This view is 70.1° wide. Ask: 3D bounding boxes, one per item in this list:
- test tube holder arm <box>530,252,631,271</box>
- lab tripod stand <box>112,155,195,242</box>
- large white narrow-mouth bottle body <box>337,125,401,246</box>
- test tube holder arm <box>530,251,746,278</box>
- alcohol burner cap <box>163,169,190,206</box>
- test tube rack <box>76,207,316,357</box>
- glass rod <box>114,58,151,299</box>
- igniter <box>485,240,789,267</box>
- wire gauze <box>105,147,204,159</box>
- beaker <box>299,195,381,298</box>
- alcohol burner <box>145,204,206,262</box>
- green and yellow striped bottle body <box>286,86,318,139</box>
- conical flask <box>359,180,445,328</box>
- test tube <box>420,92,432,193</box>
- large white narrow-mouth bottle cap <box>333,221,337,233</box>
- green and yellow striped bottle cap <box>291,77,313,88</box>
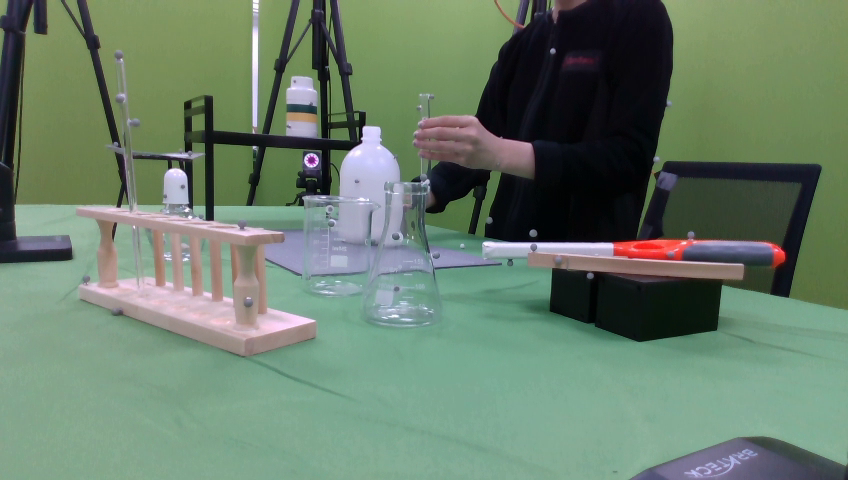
[{"bbox_3d":[0.139,0.019,0.538,0.087,0.015,0.010,3,6,13],"label":"test tube holder arm"},{"bbox_3d":[-0.405,-0.064,0.931,0.148,0.131,0.148,1,7,0],"label":"lab tripod stand"},{"bbox_3d":[-0.090,-0.092,1.006,0.102,0.194,0.102,5,7,0],"label":"large white narrow-mouth bottle body"},{"bbox_3d":[0.182,0.022,0.523,0.178,0.015,0.013,3,6,12],"label":"test tube holder arm"},{"bbox_3d":[-0.320,-0.068,0.782,0.034,0.048,0.034,1,7,0],"label":"alcohol burner cap"},{"bbox_3d":[-0.196,0.023,0.500,0.241,0.085,0.067,8,9,36],"label":"test tube rack"},{"bbox_3d":[-0.236,-0.044,0.492,0.008,0.199,0.008,0,15,0],"label":"glass rod"},{"bbox_3d":[0.197,0.012,0.585,0.276,0.025,0.057,1,5,12],"label":"igniter"},{"bbox_3d":[-0.407,-0.131,0.928,0.125,0.011,0.121,2,6,-11],"label":"wire gauze"},{"bbox_3d":[-0.087,0.006,0.626,0.084,0.100,0.074,1,8,-17],"label":"beaker"},{"bbox_3d":[-0.321,-0.032,0.788,0.078,0.119,0.078,0,7,0],"label":"alcohol burner"},{"bbox_3d":[-0.251,-0.270,1.245,0.063,0.119,0.063,2,7,0],"label":"green and yellow striped bottle body"},{"bbox_3d":[-0.017,0.010,0.522,0.075,0.122,0.075,2,7,0],"label":"conical flask"},{"bbox_3d":[0.003,-0.145,0.907,0.017,0.150,0.017,-1,14,1],"label":"test tube"},{"bbox_3d":[-0.152,-0.024,1.134,0.038,0.024,0.037,4,7,0],"label":"large white narrow-mouth bottle cap"},{"bbox_3d":[-0.250,-0.321,1.238,0.045,0.020,0.045,3,6,0],"label":"green and yellow striped bottle cap"}]
